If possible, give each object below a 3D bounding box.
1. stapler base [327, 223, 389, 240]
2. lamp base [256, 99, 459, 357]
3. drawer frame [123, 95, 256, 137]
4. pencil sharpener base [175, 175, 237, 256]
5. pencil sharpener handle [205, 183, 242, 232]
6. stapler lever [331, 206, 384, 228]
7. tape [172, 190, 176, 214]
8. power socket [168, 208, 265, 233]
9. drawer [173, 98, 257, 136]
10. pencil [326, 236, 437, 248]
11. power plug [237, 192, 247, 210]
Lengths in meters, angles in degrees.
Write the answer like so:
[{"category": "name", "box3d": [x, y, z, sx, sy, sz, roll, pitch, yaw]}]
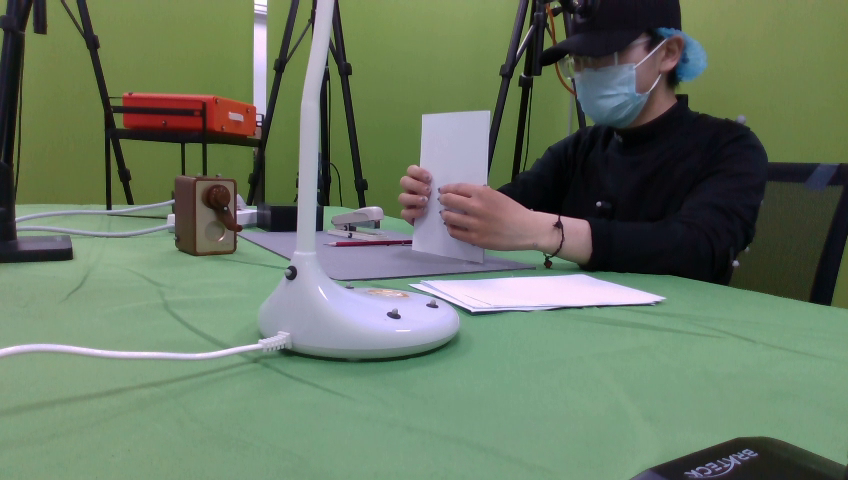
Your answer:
[{"category": "stapler base", "box3d": [-0.117, -0.018, 1.073, 0.130, 0.024, 0.041, 7, 7, 41]}, {"category": "lamp base", "box3d": [-0.055, -0.013, 0.463, 0.160, 0.180, 0.180, 6, 11, 27]}, {"category": "drawer frame", "box3d": [-0.524, -0.280, 1.376, 0.213, 0.082, 0.202, 3, 8, 8]}, {"category": "pencil sharpener base", "box3d": [-0.304, -0.035, 0.847, 0.062, 0.107, 0.076, -4, 10, -42]}, {"category": "pencil sharpener handle", "box3d": [-0.265, -0.043, 0.813, 0.036, 0.068, 0.030, -32, 28, -35]}, {"category": "stapler lever", "box3d": [-0.118, -0.043, 1.070, 0.117, 0.040, 0.027, 7, 8, 41]}, {"category": "tape", "box3d": [-0.515, -0.087, 1.388, 0.117, 0.052, 0.117, 3, 7, 0]}, {"category": "power socket", "box3d": [-0.381, -0.038, 1.129, 0.072, 0.032, 0.227, 4, 8, 17]}, {"category": "drawer", "box3d": [-0.518, -0.279, 1.376, 0.211, 0.073, 0.195, 3, 8, 9]}, {"category": "pencil", "box3d": [-0.066, 0.004, 0.979, 0.195, 0.012, 0.012, -4, 9, -26]}, {"category": "power plug", "box3d": [-0.386, -0.071, 1.204, 0.072, 0.052, 0.035, 7, 9, 26]}]
